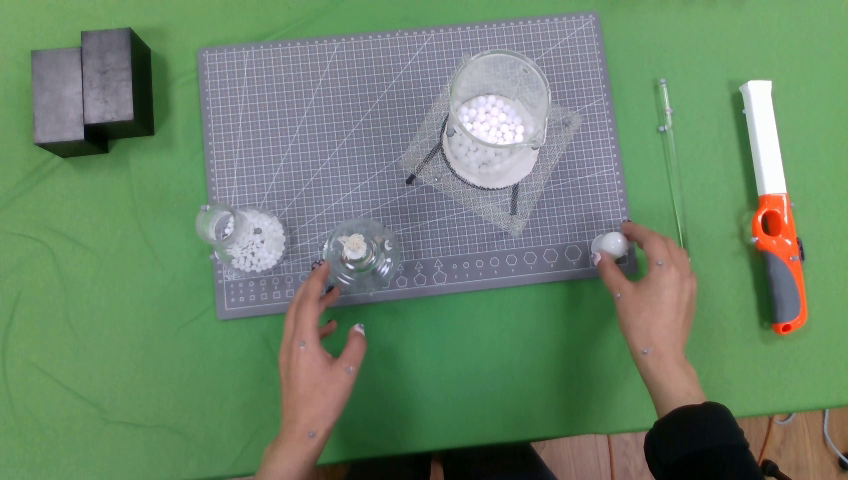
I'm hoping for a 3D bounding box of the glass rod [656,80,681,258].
[{"bbox_3d":[0.271,-0.079,0.669,0.008,0.008,0.199,-5,86,-3],"label":"glass rod"}]

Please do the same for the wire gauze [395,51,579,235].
[{"bbox_3d":[0.056,-0.087,0.531,0.125,0.011,0.121,31,86,1],"label":"wire gauze"}]

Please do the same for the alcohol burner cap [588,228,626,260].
[{"bbox_3d":[0.195,0.002,0.637,0.034,0.048,0.033,0,82,-2],"label":"alcohol burner cap"}]

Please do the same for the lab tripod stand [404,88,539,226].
[{"bbox_3d":[0.052,-0.081,0.597,0.148,0.131,0.148,0,84,0],"label":"lab tripod stand"}]

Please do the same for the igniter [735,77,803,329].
[{"bbox_3d":[0.374,-0.043,0.659,0.057,0.025,0.275,-3,83,-13],"label":"igniter"}]

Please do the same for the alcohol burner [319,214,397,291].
[{"bbox_3d":[-0.067,0.010,0.592,0.078,0.119,0.077,0,83,1],"label":"alcohol burner"}]

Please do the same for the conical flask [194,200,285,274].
[{"bbox_3d":[-0.183,-0.008,0.586,0.075,0.122,0.075,0,83,-2],"label":"conical flask"}]

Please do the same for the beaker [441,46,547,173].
[{"bbox_3d":[0.053,-0.096,0.484,0.084,0.100,0.074,44,85,4],"label":"beaker"}]
